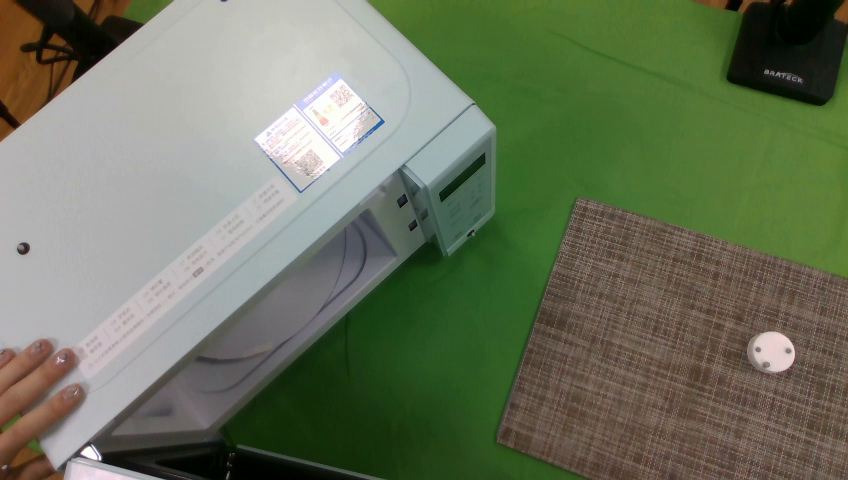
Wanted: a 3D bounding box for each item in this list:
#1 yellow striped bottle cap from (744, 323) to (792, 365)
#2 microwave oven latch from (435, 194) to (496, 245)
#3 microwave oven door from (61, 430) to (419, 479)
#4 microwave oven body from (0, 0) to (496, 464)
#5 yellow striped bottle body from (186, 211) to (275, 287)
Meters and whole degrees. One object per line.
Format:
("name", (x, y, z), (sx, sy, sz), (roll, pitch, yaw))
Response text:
("yellow striped bottle cap", (0.373, 0.113, 0.657), (0.044, 0.019, 0.044), (-2, 76, 7))
("microwave oven latch", (0.048, -0.030, 0.701), (0.079, 0.029, 0.030), (-41, 76, -4))
("microwave oven door", (-0.089, 0.232, 0.543), (0.355, 0.245, 0.039), (10, 76, 8))
("microwave oven body", (-0.192, -0.040, 0.628), (0.441, 0.261, 0.324), (-42, 76, -5))
("yellow striped bottle body", (-0.200, 0.009, 0.624), (0.063, 0.121, 0.062), (0, 77, 2))
